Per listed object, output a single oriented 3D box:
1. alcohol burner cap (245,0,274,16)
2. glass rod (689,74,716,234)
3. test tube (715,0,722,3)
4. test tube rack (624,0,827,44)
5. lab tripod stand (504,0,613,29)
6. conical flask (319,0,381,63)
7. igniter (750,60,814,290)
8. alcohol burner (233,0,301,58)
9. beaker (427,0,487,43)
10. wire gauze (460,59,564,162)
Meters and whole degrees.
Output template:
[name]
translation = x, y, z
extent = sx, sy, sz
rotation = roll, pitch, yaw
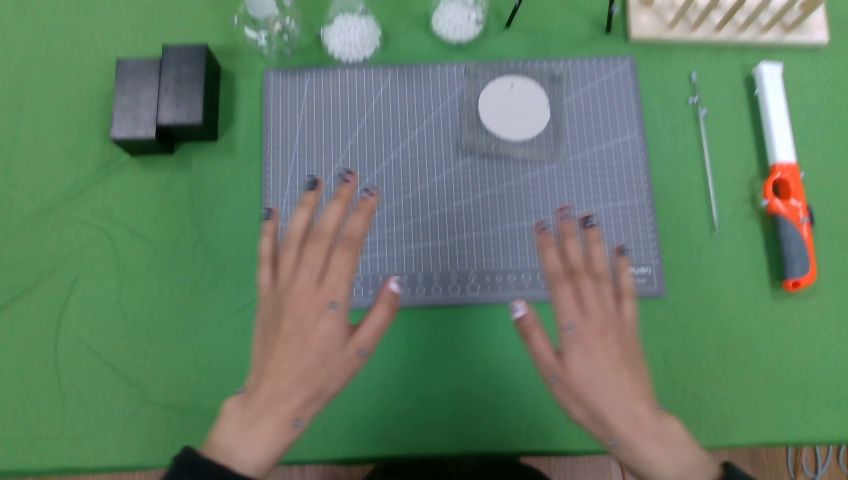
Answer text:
[alcohol burner cap]
translation = -0.183, -0.271, 0.654
extent = 0.034, 0.048, 0.033
rotation = 0, 71, -1
[glass rod]
translation = 0.327, -0.104, 0.714
extent = 0.008, 0.008, 0.198
rotation = -1, 77, -1
[test tube]
translation = 0.355, -0.313, 0.670
extent = 0.017, 0.151, 0.017
rotation = 0, 77, 2
[test tube rack]
translation = 0.372, -0.287, 0.715
extent = 0.242, 0.085, 0.066
rotation = 1, 76, 0
[lab tripod stand]
translation = 0.165, -0.313, 0.695
extent = 0.148, 0.132, 0.147
rotation = 0, 79, 0
[conical flask]
translation = -0.089, -0.262, 0.686
extent = 0.075, 0.122, 0.075
rotation = 0, 77, 0
[igniter]
translation = 0.412, -0.079, 0.699
extent = 0.057, 0.025, 0.275
rotation = 1, 77, -10
[alcohol burner]
translation = -0.183, -0.260, 0.689
extent = 0.078, 0.119, 0.077
rotation = 0, 78, 1
[beaker]
translation = 0.040, -0.282, 0.704
extent = 0.074, 0.100, 0.083
rotation = -20, 78, -4
[wire gauze]
translation = 0.106, -0.157, 0.720
extent = 0.125, 0.011, 0.121
rotation = 6, 77, -2
